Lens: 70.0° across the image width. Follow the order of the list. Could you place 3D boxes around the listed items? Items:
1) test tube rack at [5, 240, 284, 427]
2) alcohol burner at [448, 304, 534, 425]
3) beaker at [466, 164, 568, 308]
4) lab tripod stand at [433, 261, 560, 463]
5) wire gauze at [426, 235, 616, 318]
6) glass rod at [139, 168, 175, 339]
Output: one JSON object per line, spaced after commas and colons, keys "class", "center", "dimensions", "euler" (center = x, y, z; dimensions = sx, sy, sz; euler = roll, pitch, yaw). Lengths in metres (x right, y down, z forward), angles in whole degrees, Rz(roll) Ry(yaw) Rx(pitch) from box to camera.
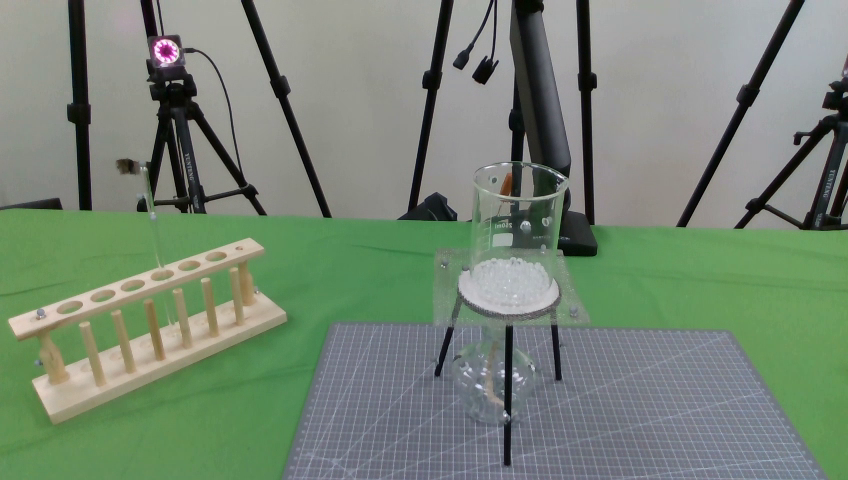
{"class": "test tube rack", "center": [-0.271, 0.085, 0.623], "dimensions": [0.243, 0.086, 0.066], "euler": [-23, 36, -36]}
{"class": "alcohol burner", "center": [0.062, 0.107, 0.547], "dimensions": [0.078, 0.120, 0.077], "euler": [2, 28, -1]}
{"class": "beaker", "center": [0.073, -0.003, 0.489], "dimensions": [0.084, 0.101, 0.073], "euler": [-10, 31, -18]}
{"class": "lab tripod stand", "center": [0.071, 0.099, 0.542], "dimensions": [0.148, 0.132, 0.147], "euler": [2, 29, -1]}
{"class": "wire gauze", "center": [0.075, 0.029, 0.500], "dimensions": [0.125, 0.011, 0.120], "euler": [-5, 26, -19]}
{"class": "glass rod", "center": [-0.264, 0.021, 0.602], "dimensions": [0.008, 0.201, 0.008], "euler": [4, 31, -2]}
